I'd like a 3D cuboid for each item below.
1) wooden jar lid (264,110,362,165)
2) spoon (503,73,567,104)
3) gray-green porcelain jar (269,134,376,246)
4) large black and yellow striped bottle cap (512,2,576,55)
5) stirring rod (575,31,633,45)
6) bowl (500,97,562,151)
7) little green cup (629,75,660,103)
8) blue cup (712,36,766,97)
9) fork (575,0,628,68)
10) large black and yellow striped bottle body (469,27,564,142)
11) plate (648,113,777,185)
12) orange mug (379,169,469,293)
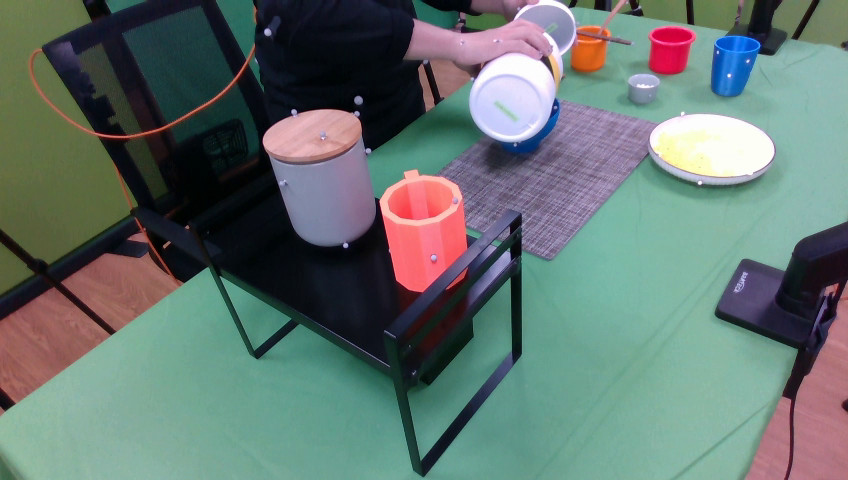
[{"bbox_3d":[-0.122,-0.112,0.673,0.108,0.021,0.108,-4,37,4],"label":"wooden jar lid"},{"bbox_3d":[0.250,-0.336,1.332,0.194,0.022,0.041,-32,33,-25],"label":"spoon"},{"bbox_3d":[-0.115,-0.064,0.715,0.106,0.127,0.105,-4,40,4],"label":"gray-green porcelain jar"},{"bbox_3d":[0.217,-0.378,1.101,0.115,0.115,0.018,1,53,11],"label":"large black and yellow striped bottle cap"},{"bbox_3d":[0.381,-0.452,1.345,0.174,0.006,0.014,26,49,33],"label":"stirring rod"},{"bbox_3d":[0.187,-0.223,1.161,0.151,0.077,0.150,-5,40,4],"label":"bowl"},{"bbox_3d":[0.458,-0.314,1.260,0.061,0.039,0.061,-4,40,4],"label":"little green cup"},{"bbox_3d":[0.627,-0.350,1.227,0.092,0.100,0.092,-4,39,4],"label":"blue cup"},{"bbox_3d":[0.413,-0.481,1.377,0.207,0.019,0.028,-57,43,12],"label":"fork"},{"bbox_3d":[0.159,-0.262,0.998,0.130,0.131,0.184,8,44,18],"label":"large black and yellow striped bottle body"},{"bbox_3d":[0.506,-0.158,1.073,0.209,0.038,0.208,-5,40,4],"label":"plate"},{"bbox_3d":[-0.002,-0.019,0.665,0.083,0.101,0.125,-12,45,-4],"label":"orange mug"}]
